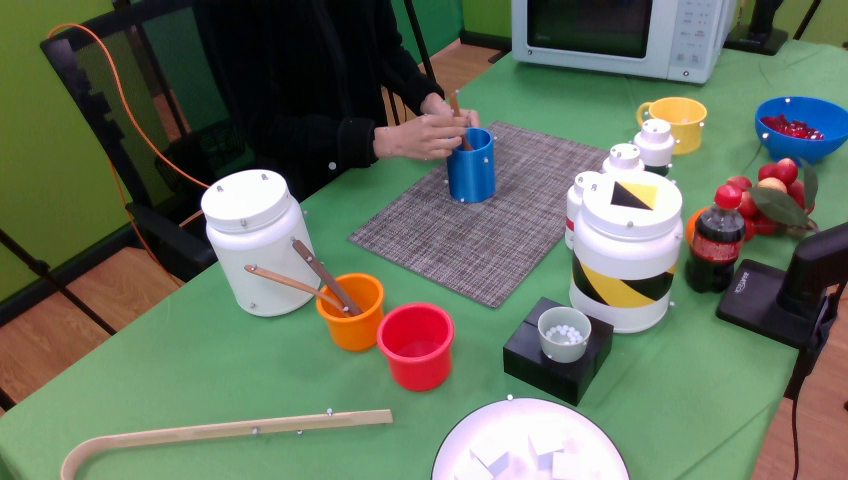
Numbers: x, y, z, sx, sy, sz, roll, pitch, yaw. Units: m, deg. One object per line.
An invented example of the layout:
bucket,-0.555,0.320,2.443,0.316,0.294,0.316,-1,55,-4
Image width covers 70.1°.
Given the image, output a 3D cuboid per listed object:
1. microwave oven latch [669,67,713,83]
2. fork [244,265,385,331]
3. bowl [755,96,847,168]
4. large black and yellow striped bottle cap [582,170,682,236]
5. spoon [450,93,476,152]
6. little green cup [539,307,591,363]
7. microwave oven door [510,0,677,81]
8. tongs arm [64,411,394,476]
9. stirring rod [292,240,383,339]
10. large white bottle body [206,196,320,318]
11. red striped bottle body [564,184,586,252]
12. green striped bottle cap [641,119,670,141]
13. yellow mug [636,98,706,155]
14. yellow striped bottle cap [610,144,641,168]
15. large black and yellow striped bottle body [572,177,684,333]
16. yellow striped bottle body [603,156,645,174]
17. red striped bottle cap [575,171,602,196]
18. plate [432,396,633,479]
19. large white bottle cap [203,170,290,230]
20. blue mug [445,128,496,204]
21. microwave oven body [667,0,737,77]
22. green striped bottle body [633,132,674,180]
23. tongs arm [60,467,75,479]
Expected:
microwave oven latch,0.556,-0.348,1.262,0.078,0.029,0.030,16,46,26
fork,-0.142,0.078,0.806,0.209,0.018,0.028,30,33,-23
bowl,0.645,-0.177,1.041,0.151,0.077,0.150,-5,40,4
large black and yellow striped bottle cap,0.252,-0.048,0.735,0.115,0.019,0.114,-3,40,3
spoon,0.067,-0.173,1.007,0.041,0.195,0.021,-28,51,-1
little green cup,0.167,0.114,0.721,0.061,0.039,0.061,-4,43,4
microwave oven door,0.354,-0.478,1.290,0.353,0.245,0.039,15,45,25
tongs arm,-0.228,0.241,0.715,0.385,0.026,0.050,-5,43,4
stirring rod,-0.118,0.068,0.826,0.176,0.006,0.014,49,59,-4
large white bottle body,-0.233,0.008,0.876,0.130,0.185,0.130,-4,40,4
red striped bottle body,0.247,-0.041,0.910,0.063,0.120,0.062,-3,39,3
green striped bottle cap,0.371,-0.175,0.968,0.044,0.020,0.044,-5,42,5
yellow mug,0.453,-0.217,1.128,0.100,0.064,0.129,-34,46,-27
yellow striped bottle cap,0.307,-0.128,0.923,0.044,0.019,0.044,-5,39,5
large black and yellow striped bottle body,0.262,0.017,0.788,0.131,0.185,0.130,-5,40,4
yellow striped bottle body,0.313,-0.089,0.956,0.063,0.121,0.062,-4,40,4
red striped bottle cap,0.242,-0.081,0.876,0.044,0.018,0.044,-5,44,5
plate,0.112,0.261,0.634,0.209,0.038,0.208,-5,40,4
large white bottle cap,-0.241,-0.057,0.822,0.115,0.018,0.114,-4,40,4
blue mug,0.081,-0.139,1.058,0.082,0.106,0.116,-5,40,3
microwave oven body,0.462,-0.552,1.369,0.439,0.261,0.326,15,45,26
green striped bottle body,0.376,-0.135,1.001,0.063,0.120,0.063,-5,40,5
tongs arm,-0.239,0.301,0.648,0.386,0.028,0.028,6,49,16
